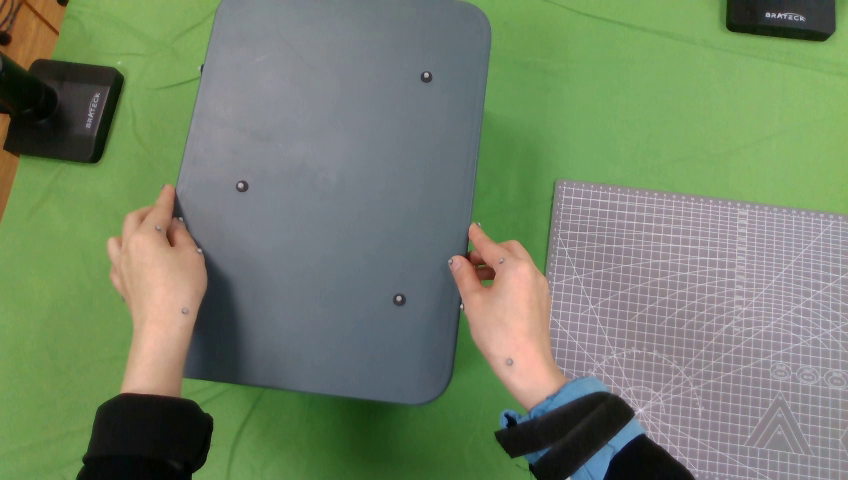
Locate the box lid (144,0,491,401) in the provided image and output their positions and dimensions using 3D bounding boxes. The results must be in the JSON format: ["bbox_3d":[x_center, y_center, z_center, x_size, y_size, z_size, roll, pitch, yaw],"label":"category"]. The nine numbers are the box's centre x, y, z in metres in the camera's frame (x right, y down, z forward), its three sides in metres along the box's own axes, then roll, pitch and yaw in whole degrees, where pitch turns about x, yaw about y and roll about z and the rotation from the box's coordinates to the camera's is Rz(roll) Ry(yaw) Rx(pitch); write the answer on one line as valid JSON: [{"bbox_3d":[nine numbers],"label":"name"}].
[{"bbox_3d":[-0.086,-0.059,0.535,0.263,0.015,0.370,6,78,4],"label":"box lid"}]

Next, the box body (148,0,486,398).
[{"bbox_3d":[-0.083,-0.040,0.607,0.254,0.161,0.362,6,77,3],"label":"box body"}]
